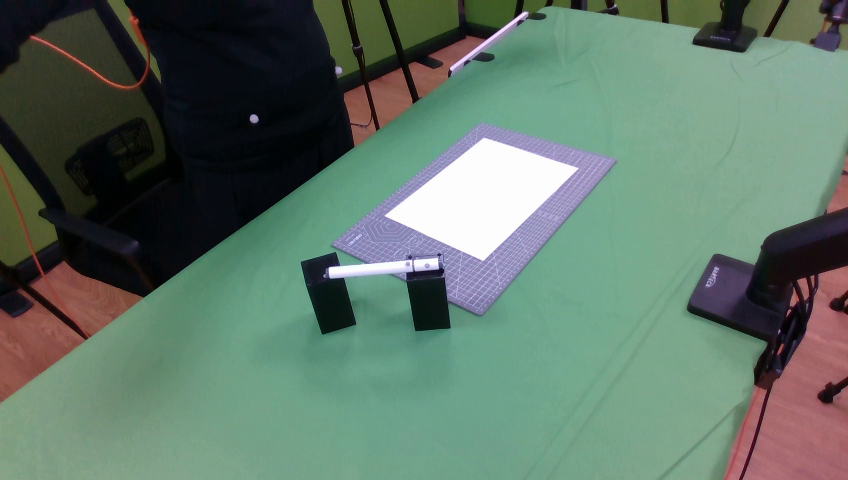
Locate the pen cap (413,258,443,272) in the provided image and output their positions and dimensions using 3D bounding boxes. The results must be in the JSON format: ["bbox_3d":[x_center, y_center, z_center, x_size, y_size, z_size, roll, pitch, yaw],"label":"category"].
[{"bbox_3d":[0.005,0.031,0.781,0.038,0.017,0.017,-5,40,3],"label":"pen cap"}]

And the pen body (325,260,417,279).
[{"bbox_3d":[-0.056,0.037,0.784,0.144,0.017,0.017,-5,40,4],"label":"pen body"}]
